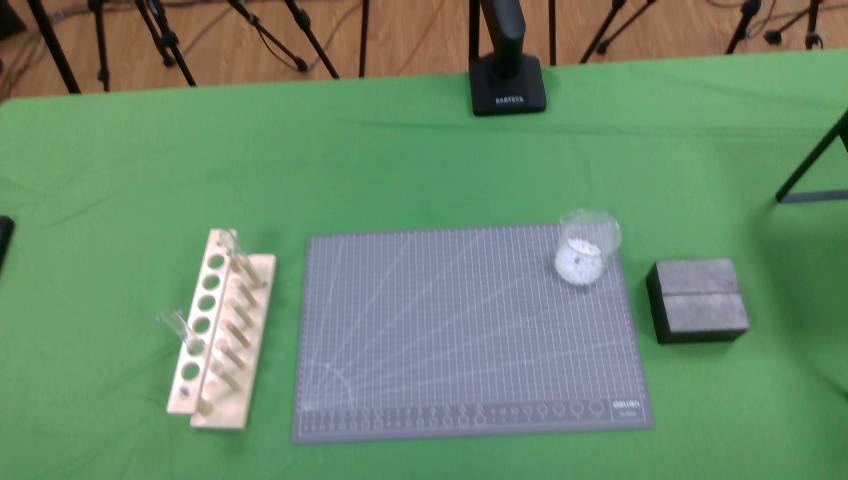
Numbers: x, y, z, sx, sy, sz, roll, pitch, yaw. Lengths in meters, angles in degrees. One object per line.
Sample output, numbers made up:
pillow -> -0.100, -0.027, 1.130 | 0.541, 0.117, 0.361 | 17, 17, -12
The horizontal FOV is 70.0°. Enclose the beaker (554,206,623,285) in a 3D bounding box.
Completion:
beaker -> 0.213, 0.010, 0.812 | 0.083, 0.101, 0.074 | 31, 67, 19

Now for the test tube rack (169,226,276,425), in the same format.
test tube rack -> -0.254, 0.108, 0.786 | 0.067, 0.086, 0.240 | 2, 62, 3

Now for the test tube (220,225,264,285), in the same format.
test tube -> -0.232, 0.022, 0.780 | 0.017, 0.151, 0.017 | -1, 62, 1

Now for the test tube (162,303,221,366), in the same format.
test tube -> -0.275, 0.117, 0.726 | 0.017, 0.151, 0.017 | -2, 56, 3
